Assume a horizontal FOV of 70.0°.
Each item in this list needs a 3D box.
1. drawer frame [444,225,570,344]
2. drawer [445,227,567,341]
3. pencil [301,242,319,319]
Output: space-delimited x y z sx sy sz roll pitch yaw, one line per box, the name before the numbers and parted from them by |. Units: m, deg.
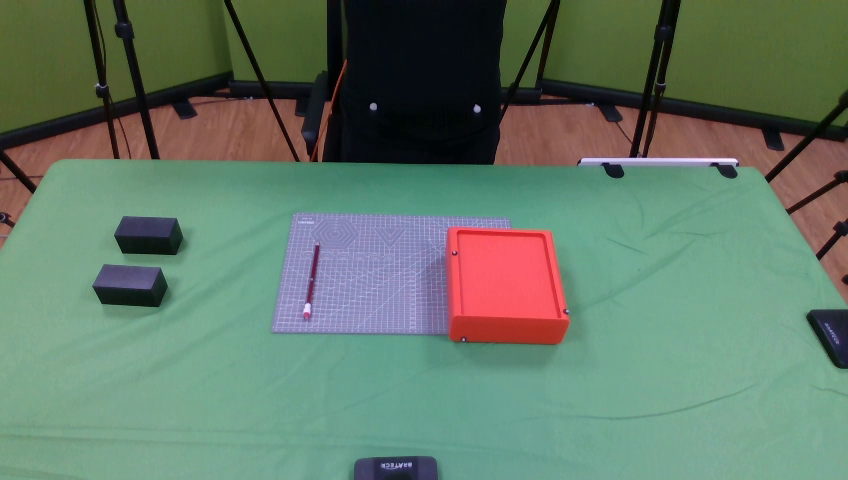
drawer frame | 0.141 0.077 1.088 0.202 0.083 0.212 2 47 -4
drawer | 0.140 0.076 1.090 0.195 0.073 0.210 3 47 -4
pencil | -0.208 0.070 1.119 0.012 0.012 0.193 2 43 -2
